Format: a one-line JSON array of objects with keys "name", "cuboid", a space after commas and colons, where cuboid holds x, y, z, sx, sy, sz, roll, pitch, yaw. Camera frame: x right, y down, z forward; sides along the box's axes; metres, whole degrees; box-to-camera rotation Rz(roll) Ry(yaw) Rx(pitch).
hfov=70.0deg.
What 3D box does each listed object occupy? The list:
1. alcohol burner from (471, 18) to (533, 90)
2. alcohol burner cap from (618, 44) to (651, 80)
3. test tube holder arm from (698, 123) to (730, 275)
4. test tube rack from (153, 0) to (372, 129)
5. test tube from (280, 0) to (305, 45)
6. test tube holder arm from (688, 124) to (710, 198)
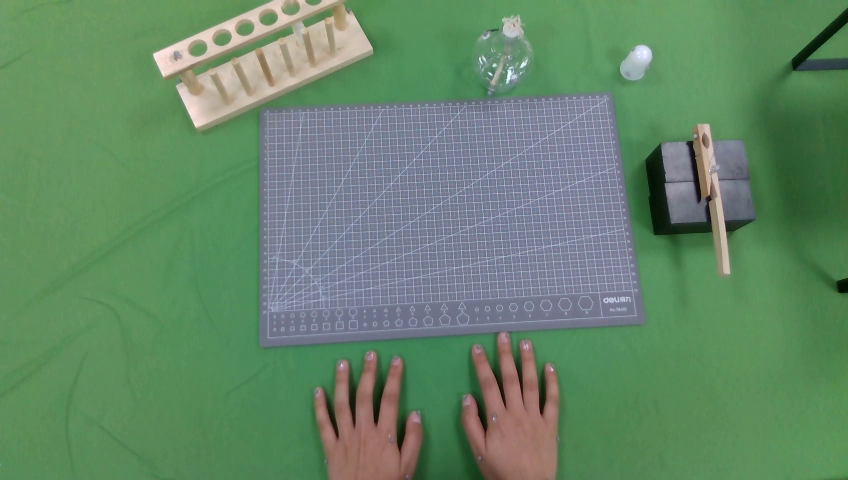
[{"name": "alcohol burner", "cuboid": [0.097, -0.233, 0.733, 0.078, 0.119, 0.077, 0, 77, -2]}, {"name": "alcohol burner cap", "cuboid": [0.271, -0.229, 0.774, 0.034, 0.048, 0.033, 0, 76, 0]}, {"name": "test tube holder arm", "cuboid": [0.330, -0.049, 0.695, 0.013, 0.015, 0.177, -5, 78, -3]}, {"name": "test tube rack", "cuboid": [-0.188, -0.230, 0.738, 0.242, 0.085, 0.066, -27, 78, -7]}, {"name": "test tube", "cuboid": [-0.160, -0.280, 0.698, 0.017, 0.151, 0.017, -3, 67, 7]}, {"name": "test tube holder arm", "cuboid": [0.321, -0.092, 0.704, 0.010, 0.015, 0.087, -4, 78, -3]}]
